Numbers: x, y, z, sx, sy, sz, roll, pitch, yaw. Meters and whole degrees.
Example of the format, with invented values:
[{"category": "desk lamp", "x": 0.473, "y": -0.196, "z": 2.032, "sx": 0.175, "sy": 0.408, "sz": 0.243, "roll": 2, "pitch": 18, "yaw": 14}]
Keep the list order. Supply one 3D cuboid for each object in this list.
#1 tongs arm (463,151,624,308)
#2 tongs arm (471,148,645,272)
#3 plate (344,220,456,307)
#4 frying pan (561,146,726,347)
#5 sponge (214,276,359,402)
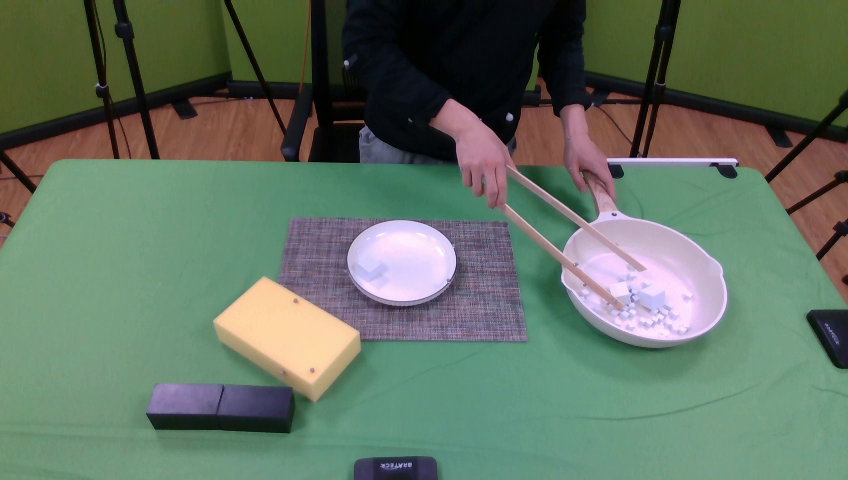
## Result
[{"category": "tongs arm", "x": 0.217, "y": -0.017, "z": 1.089, "sx": 0.385, "sy": 0.026, "sz": 0.050, "roll": 39, "pitch": 69, "yaw": -3}, {"category": "tongs arm", "x": 0.246, "y": -0.054, "z": 1.108, "sx": 0.388, "sy": 0.028, "sz": 0.028, "roll": 35, "pitch": 73, "yaw": -5}, {"category": "plate", "x": -0.045, "y": 0.047, "z": 1.133, "sx": 0.208, "sy": 0.039, "sz": 0.206, "roll": 3, "pitch": 46, "yaw": -2}, {"category": "frying pan", "x": 0.378, "y": -0.005, "z": 1.175, "sx": 0.307, "sy": 0.103, "sz": 0.484, "roll": -4, "pitch": 55, "yaw": -9}, {"category": "sponge", "x": -0.225, "y": 0.158, "z": 0.998, "sx": 0.206, "sy": 0.061, "sz": 0.118, "roll": 27, "pitch": 52, "yaw": 18}]
